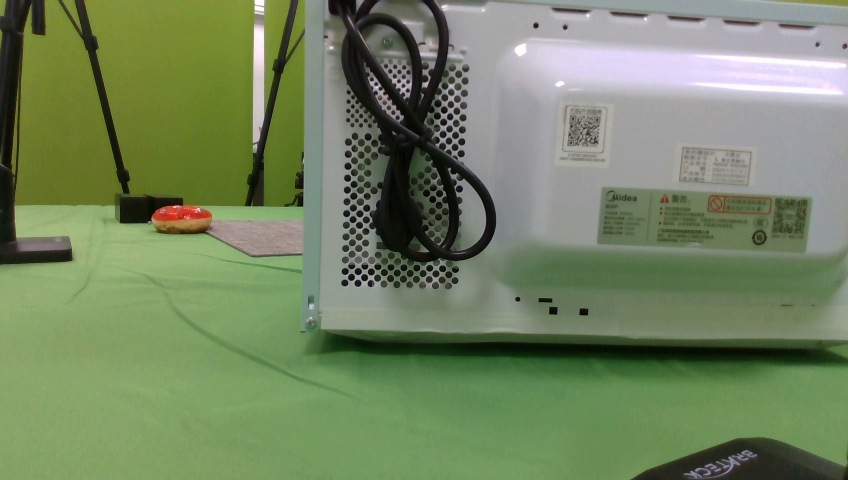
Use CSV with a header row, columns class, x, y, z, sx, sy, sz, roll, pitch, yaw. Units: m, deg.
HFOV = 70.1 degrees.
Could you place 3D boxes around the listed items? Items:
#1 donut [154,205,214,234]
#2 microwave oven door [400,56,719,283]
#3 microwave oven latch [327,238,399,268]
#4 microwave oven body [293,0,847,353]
class,x,y,z,sx,sy,sz,roll,pitch,yaw
donut,-0.426,-0.037,1.075,0.099,0.048,0.099,2,12,0
microwave oven door,0.155,-0.077,0.697,0.356,0.243,0.039,2,8,-5
microwave oven latch,-0.069,0.015,0.694,0.079,0.029,0.030,3,7,-3
microwave oven body,0.122,-0.055,0.550,0.442,0.260,0.325,3,7,-5
